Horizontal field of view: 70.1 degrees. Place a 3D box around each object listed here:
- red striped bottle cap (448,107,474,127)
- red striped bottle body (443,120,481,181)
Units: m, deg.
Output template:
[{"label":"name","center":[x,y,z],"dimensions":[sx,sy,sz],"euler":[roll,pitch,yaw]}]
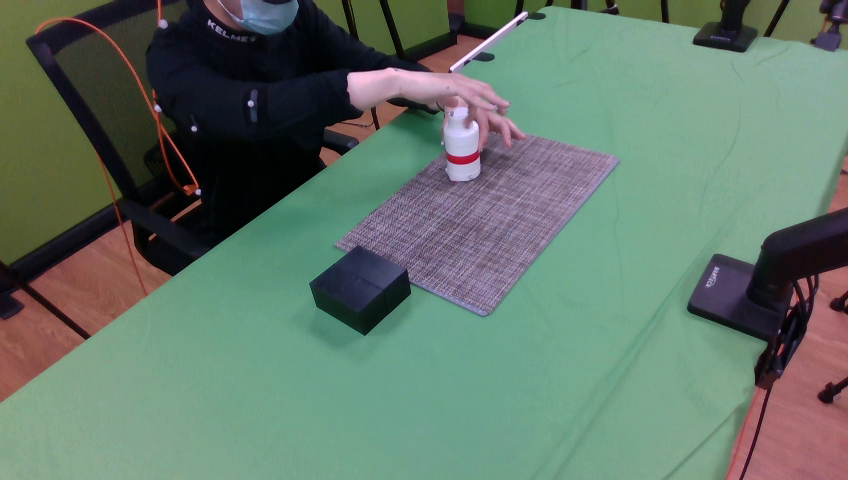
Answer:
[{"label":"red striped bottle cap","center":[0.063,-0.212,1.038],"dimensions":[0.044,0.018,0.044],"euler":[-5,40,4]},{"label":"red striped bottle body","center":[0.068,-0.171,1.075],"dimensions":[0.063,0.120,0.062],"euler":[-4,42,4]}]
